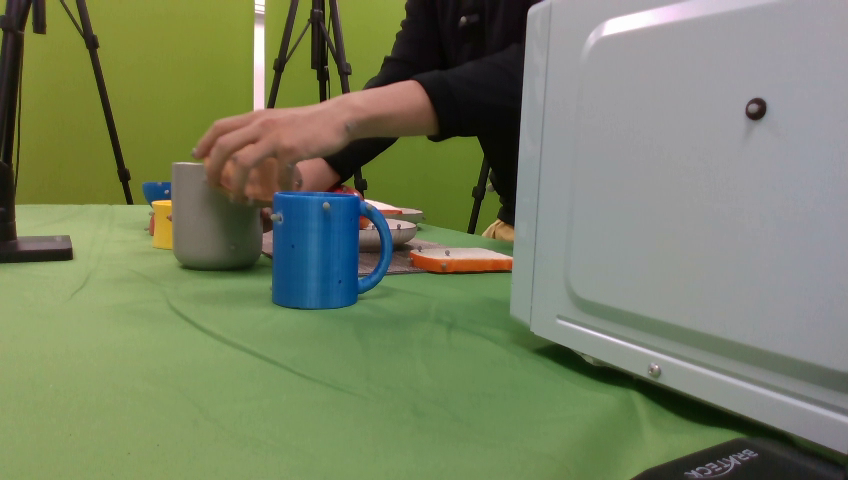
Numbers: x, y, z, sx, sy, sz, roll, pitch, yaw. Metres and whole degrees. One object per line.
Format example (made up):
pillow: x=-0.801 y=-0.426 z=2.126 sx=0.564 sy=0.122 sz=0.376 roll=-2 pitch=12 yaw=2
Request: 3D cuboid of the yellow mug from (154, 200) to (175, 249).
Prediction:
yellow mug: x=-0.337 y=-0.023 z=0.899 sx=0.130 sy=0.064 sz=0.100 roll=7 pitch=9 yaw=34

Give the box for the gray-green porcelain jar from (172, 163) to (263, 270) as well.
gray-green porcelain jar: x=-0.254 y=-0.031 z=0.752 sx=0.106 sy=0.126 sz=0.106 roll=1 pitch=8 yaw=0

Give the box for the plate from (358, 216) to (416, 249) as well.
plate: x=-0.116 y=-0.014 z=0.967 sx=0.208 sy=0.039 sz=0.207 roll=2 pitch=7 yaw=0

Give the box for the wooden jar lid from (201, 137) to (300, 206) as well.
wooden jar lid: x=-0.195 y=-0.076 z=0.681 sx=0.109 sy=0.020 sz=0.108 roll=20 pitch=37 yaw=-16

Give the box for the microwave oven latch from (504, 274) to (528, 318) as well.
microwave oven latch: x=0.100 y=0.041 z=0.469 sx=0.079 sy=0.029 sz=0.030 roll=-1 pitch=7 yaw=-25

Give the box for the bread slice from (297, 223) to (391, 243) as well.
bread slice: x=-0.121 y=-0.013 z=0.970 sx=0.106 sy=0.018 sz=0.135 roll=9 pitch=11 yaw=41

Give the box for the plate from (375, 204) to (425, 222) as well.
plate: x=-0.102 y=-0.053 z=1.299 sx=0.209 sy=0.038 sz=0.209 roll=2 pitch=8 yaw=0

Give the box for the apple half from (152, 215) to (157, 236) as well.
apple half: x=-0.415 y=-0.034 z=1.017 sx=0.081 sy=0.053 sz=0.074 roll=1 pitch=10 yaw=-8

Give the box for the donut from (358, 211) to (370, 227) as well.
donut: x=-0.132 y=-0.041 z=0.959 sx=0.099 sy=0.048 sz=0.099 roll=3 pitch=7 yaw=0

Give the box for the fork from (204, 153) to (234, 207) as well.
fork: x=-0.480 y=-0.134 z=1.411 sx=0.028 sy=0.018 sz=0.207 roll=1 pitch=-35 yaw=0

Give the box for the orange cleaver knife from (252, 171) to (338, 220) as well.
orange cleaver knife: x=-0.283 y=-0.086 z=1.343 sx=0.212 sy=0.077 sz=0.012 roll=24 pitch=-16 yaw=-41

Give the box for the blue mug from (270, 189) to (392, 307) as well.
blue mug: x=-0.089 y=0.005 z=0.588 sx=0.117 sy=0.106 sz=0.082 roll=0 pitch=7 yaw=-10

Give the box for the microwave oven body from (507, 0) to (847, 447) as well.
microwave oven body: x=0.331 y=-0.042 z=0.425 sx=0.444 sy=0.260 sz=0.324 roll=-2 pitch=8 yaw=-31

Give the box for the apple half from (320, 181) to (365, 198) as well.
apple half: x=-0.130 y=-0.076 z=0.952 sx=0.081 sy=0.033 sz=0.081 roll=3 pitch=14 yaw=0

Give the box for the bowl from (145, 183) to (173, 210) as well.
bowl: x=-0.459 y=-0.068 z=1.175 sx=0.151 sy=0.077 sz=0.151 roll=3 pitch=7 yaw=0

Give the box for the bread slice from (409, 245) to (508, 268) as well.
bread slice: x=0.048 y=0.021 z=0.815 sx=0.132 sy=0.019 sz=0.104 roll=0 pitch=7 yaw=-23

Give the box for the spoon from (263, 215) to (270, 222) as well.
spoon: x=-0.200 y=-0.032 z=0.962 sx=0.041 sy=0.021 sz=0.195 roll=3 pitch=-2 yaw=32

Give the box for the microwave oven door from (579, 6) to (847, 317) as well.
microwave oven door: x=0.294 y=-0.067 z=0.570 sx=0.358 sy=0.243 sz=0.039 roll=-3 pitch=9 yaw=-31
